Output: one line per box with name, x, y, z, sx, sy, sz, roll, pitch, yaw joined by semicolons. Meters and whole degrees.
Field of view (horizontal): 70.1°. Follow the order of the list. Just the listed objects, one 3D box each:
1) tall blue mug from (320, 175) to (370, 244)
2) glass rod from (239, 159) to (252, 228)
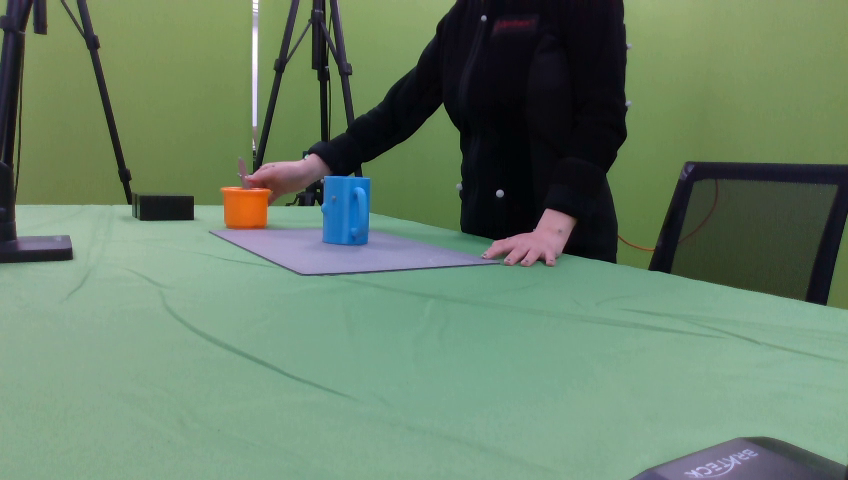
tall blue mug;-0.116;-0.049;0.991;0.106;0.108;0.078;7;8;33
glass rod;-0.346;-0.092;1.170;0.008;0.008;0.199;-1;46;-23
